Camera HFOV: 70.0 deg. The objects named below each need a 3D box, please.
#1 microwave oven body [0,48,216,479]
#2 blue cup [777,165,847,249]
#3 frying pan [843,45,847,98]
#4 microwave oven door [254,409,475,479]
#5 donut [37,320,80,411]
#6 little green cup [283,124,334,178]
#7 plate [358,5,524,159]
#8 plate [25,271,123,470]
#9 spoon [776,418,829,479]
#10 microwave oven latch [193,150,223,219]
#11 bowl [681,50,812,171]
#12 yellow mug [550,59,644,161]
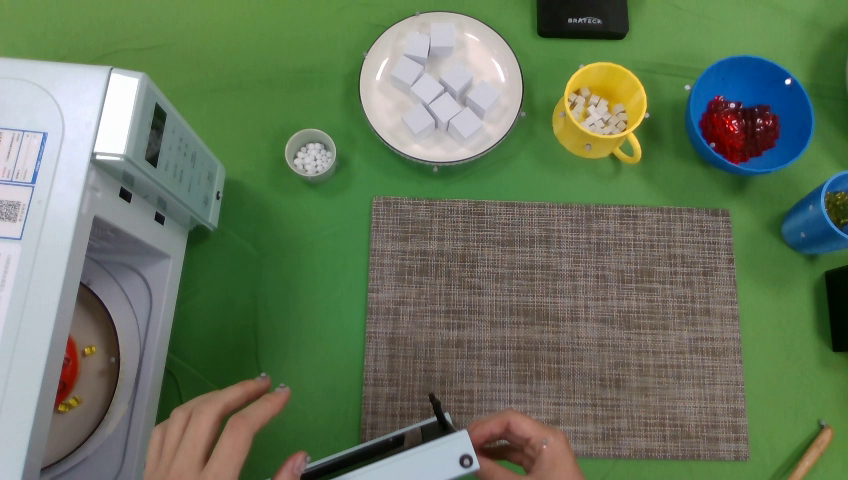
[{"bbox_3d":[-0.419,0.070,0.583,0.326,0.261,0.439,5,78,-1],"label":"microwave oven body"},{"bbox_3d":[0.475,-0.030,0.717,0.093,0.100,0.092,0,76,-1],"label":"blue cup"},{"bbox_3d":[0.665,-0.111,0.739,0.307,0.103,0.484,7,70,1],"label":"frying pan"},{"bbox_3d":[-0.132,0.235,0.551,0.356,0.245,0.039,-19,77,-6],"label":"microwave oven door"},{"bbox_3d":[-0.399,0.124,0.612,0.099,0.048,0.098,0,80,-2],"label":"donut"},{"bbox_3d":[-0.140,-0.107,0.746,0.061,0.039,0.061,0,79,-2],"label":"little green cup"},{"bbox_3d":[0.021,-0.197,0.772,0.208,0.039,0.206,0,78,-1],"label":"plate"},{"bbox_3d":[-0.413,0.130,0.625,0.209,0.038,0.208,0,78,-2],"label":"plate"},{"bbox_3d":[0.404,0.275,0.689,0.193,0.022,0.041,-42,70,-10],"label":"spoon"},{"bbox_3d":[-0.259,-0.067,0.716,0.030,0.029,0.079,7,78,-1],"label":"microwave oven latch"},{"bbox_3d":[0.383,-0.148,0.752,0.151,0.077,0.150,0,78,-1],"label":"bowl"},{"bbox_3d":[0.223,-0.153,0.755,0.100,0.064,0.130,-34,82,-9],"label":"yellow mug"}]
